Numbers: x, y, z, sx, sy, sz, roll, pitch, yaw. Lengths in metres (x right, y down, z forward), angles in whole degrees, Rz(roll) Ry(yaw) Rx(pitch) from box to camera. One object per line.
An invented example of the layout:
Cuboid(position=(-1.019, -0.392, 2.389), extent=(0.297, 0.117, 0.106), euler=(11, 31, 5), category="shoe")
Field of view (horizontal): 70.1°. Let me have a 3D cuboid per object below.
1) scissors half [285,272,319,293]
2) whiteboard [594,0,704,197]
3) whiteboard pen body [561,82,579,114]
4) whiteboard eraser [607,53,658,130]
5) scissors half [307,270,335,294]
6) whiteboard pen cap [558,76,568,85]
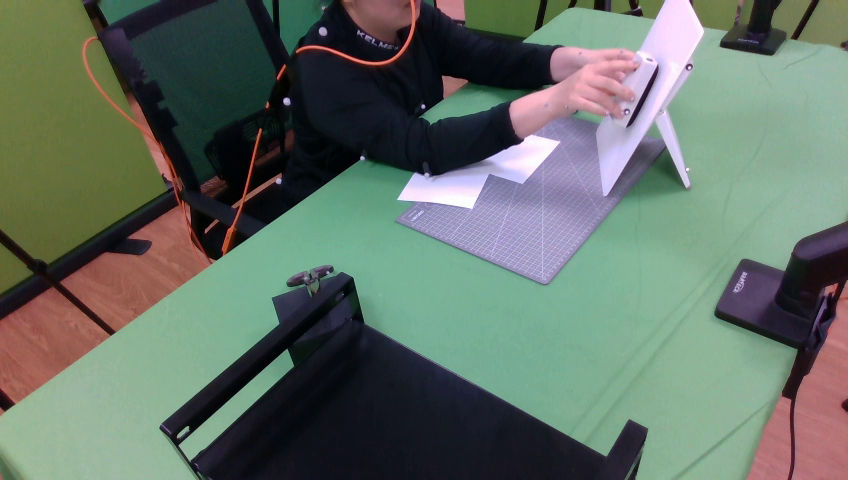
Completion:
Cuboid(position=(-0.171, 0.064, 0.868), extent=(0.040, 0.013, 0.174), euler=(-13, 8, -21), category="scissors half")
Cuboid(position=(0.421, -0.227, 1.009), extent=(0.144, 0.305, 0.216), euler=(17, 41, -3), category="whiteboard")
Cuboid(position=(0.311, -0.311, 1.298), extent=(0.017, 0.017, 0.140), euler=(-6, 40, 3), category="whiteboard pen body")
Cuboid(position=(0.338, -0.238, 0.976), extent=(0.042, 0.113, 0.055), euler=(15, 34, -4), category="whiteboard eraser")
Cuboid(position=(-0.152, 0.061, 0.872), extent=(0.040, 0.013, 0.175), euler=(-5, 7, -4), category="scissors half")
Cuboid(position=(0.310, -0.350, 1.340), extent=(0.018, 0.018, 0.033), euler=(-6, 40, 2), category="whiteboard pen cap")
